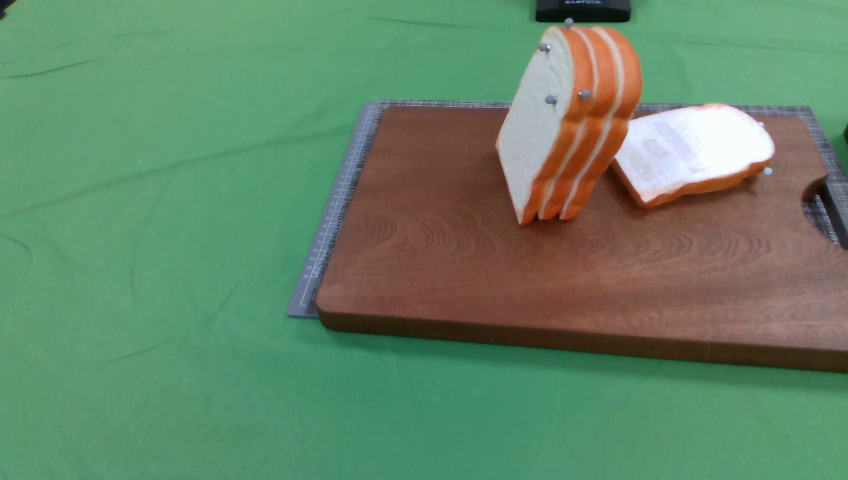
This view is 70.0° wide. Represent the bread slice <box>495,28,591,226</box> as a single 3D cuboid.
[{"bbox_3d":[0.092,-0.096,0.482,0.018,0.135,0.106,4,43,-14],"label":"bread slice"}]

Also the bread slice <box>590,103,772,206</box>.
[{"bbox_3d":[0.225,-0.077,0.522,0.131,0.019,0.103,-14,44,-2],"label":"bread slice"}]
